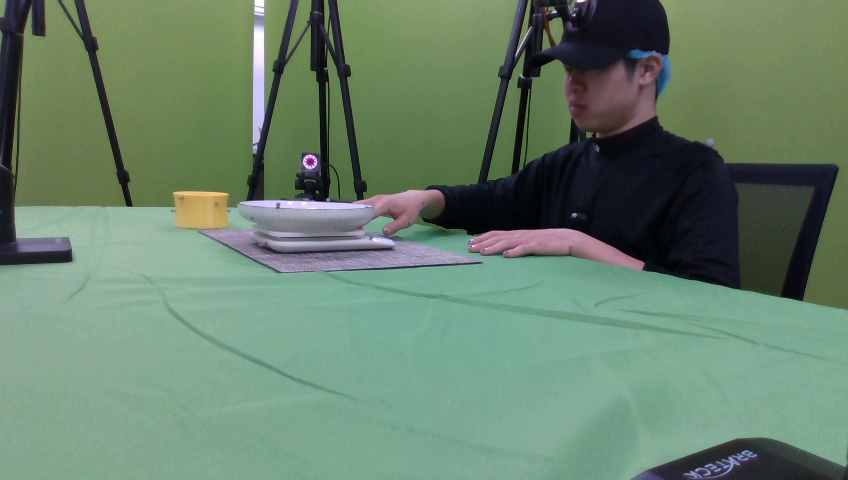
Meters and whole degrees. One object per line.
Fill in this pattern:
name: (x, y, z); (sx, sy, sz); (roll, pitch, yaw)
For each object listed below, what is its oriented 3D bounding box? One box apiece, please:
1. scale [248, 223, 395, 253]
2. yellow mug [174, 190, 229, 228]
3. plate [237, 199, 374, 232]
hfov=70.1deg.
scale: (-0.162, -0.006, 0.954); (0.202, 0.031, 0.148); (-1, 8, -32)
yellow mug: (-0.427, -0.063, 1.189); (0.100, 0.064, 0.131); (5, 7, 13)
plate: (-0.183, -0.039, 0.941); (0.209, 0.038, 0.209); (3, 7, 0)
